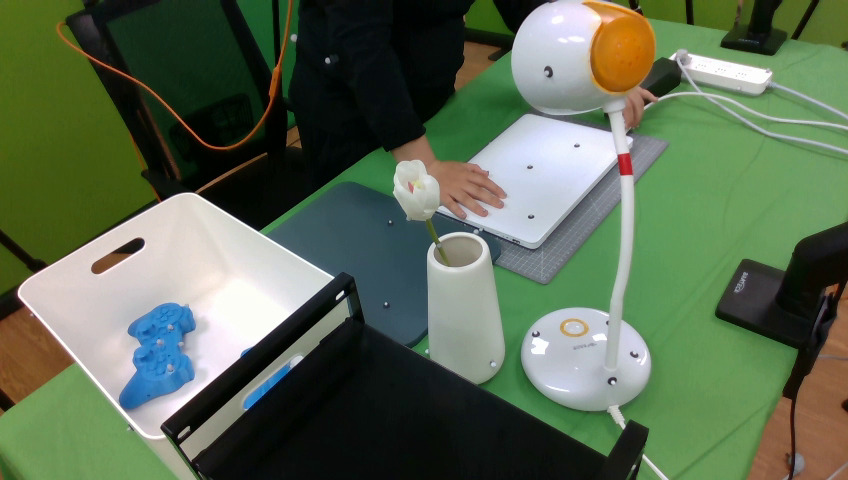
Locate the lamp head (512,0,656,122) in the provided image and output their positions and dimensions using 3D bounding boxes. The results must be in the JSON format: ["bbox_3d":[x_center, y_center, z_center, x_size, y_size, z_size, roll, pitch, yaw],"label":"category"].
[{"bbox_3d":[0.156,-0.168,0.563,0.113,0.113,0.122,-18,23,-12],"label":"lamp head"}]

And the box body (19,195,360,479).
[{"bbox_3d":[-0.287,0.118,0.772,0.361,0.161,0.255,26,50,33],"label":"box body"}]

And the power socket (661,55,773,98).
[{"bbox_3d":[0.620,-0.352,1.289,0.225,0.033,0.072,26,51,33],"label":"power socket"}]

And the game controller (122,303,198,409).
[{"bbox_3d":[-0.363,0.149,0.828,0.097,0.052,0.154,-13,41,-9],"label":"game controller"}]

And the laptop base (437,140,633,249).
[{"bbox_3d":[0.194,-0.117,1.087,0.233,0.023,0.355,20,48,35],"label":"laptop base"}]

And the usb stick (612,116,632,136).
[{"bbox_3d":[0.375,-0.210,1.151,0.021,0.027,0.059,22,55,33],"label":"usb stick"}]

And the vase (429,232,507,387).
[{"bbox_3d":[0.051,0.087,0.728,0.098,0.201,0.097,-3,40,3],"label":"vase"}]

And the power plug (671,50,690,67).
[{"bbox_3d":[0.541,-0.379,1.302,0.073,0.053,0.035,-30,47,-21],"label":"power plug"}]

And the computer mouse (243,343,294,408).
[{"bbox_3d":[-0.199,0.179,0.777,0.063,0.041,0.116,-10,41,-7],"label":"computer mouse"}]

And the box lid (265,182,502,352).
[{"bbox_3d":[-0.086,0.023,0.971,0.368,0.015,0.264,23,49,31],"label":"box lid"}]

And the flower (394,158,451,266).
[{"bbox_3d":[0.029,0.036,0.664,0.043,0.364,0.038,36,73,30],"label":"flower"}]

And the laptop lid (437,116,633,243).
[{"bbox_3d":[0.190,-0.125,1.082,0.239,0.013,0.358,22,48,35],"label":"laptop lid"}]

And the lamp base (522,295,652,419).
[{"bbox_3d":[0.201,0.095,0.710,0.161,0.181,0.178,-16,43,-10],"label":"lamp base"}]
